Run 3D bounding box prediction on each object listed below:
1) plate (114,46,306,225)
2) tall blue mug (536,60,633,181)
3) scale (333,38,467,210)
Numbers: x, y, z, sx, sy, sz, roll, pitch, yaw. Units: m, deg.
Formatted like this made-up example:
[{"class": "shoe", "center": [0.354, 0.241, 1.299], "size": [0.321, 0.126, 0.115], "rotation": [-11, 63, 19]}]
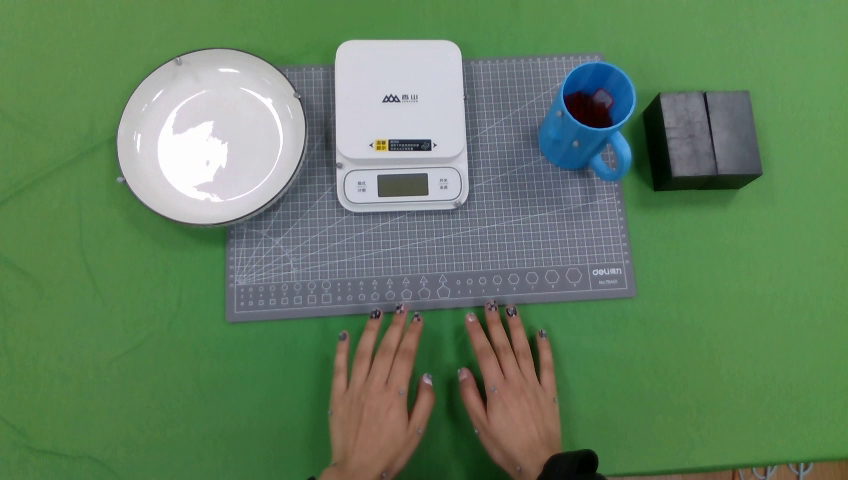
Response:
[{"class": "plate", "center": [-0.233, -0.114, 0.676], "size": [0.209, 0.038, 0.208], "rotation": [0, 78, 0]}, {"class": "tall blue mug", "center": [0.183, -0.124, 0.656], "size": [0.107, 0.108, 0.077], "rotation": [33, 78, 6]}, {"class": "scale", "center": [-0.029, -0.135, 0.691], "size": [0.149, 0.031, 0.200], "rotation": [-2, 78, -2]}]
